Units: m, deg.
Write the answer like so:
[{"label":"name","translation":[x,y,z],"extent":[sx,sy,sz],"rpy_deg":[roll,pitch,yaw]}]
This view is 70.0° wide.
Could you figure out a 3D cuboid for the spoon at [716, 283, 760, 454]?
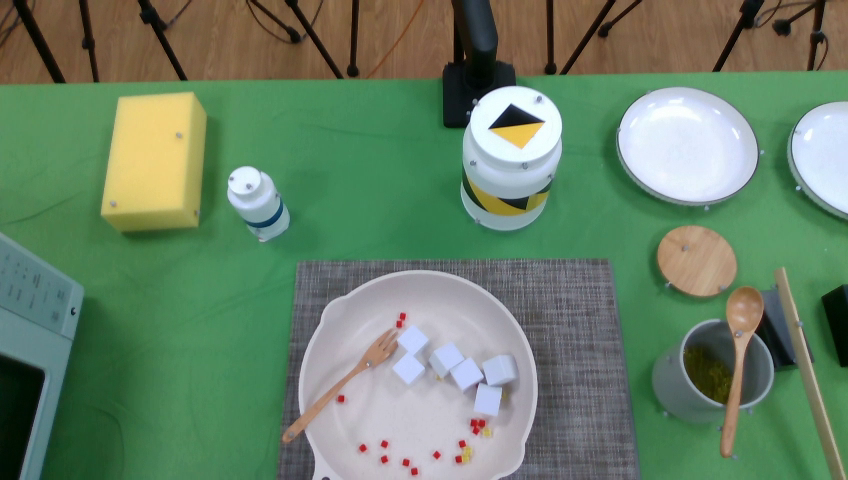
[{"label":"spoon","translation":[0.344,0.140,0.675],"extent":[0.041,0.022,0.193],"rpy_deg":[16,71,4]}]

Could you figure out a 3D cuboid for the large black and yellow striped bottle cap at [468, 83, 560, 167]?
[{"label":"large black and yellow striped bottle cap","translation":[0.113,-0.145,0.758],"extent":[0.115,0.019,0.114],"rpy_deg":[0,68,1]}]

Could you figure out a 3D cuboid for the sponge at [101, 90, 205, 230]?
[{"label":"sponge","translation":[-0.406,-0.123,0.918],"extent":[0.118,0.061,0.205],"rpy_deg":[-5,67,-1]}]

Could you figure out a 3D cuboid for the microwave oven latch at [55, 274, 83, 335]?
[{"label":"microwave oven latch","translation":[-0.489,0.087,0.822],"extent":[0.030,0.030,0.078],"rpy_deg":[2,67,2]}]

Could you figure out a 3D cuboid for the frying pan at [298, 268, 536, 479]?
[{"label":"frying pan","translation":[-0.076,0.247,0.724],"extent":[0.305,0.103,0.487],"rpy_deg":[38,64,17]}]

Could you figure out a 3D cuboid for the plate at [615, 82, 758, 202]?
[{"label":"plate","translation":[0.393,-0.146,0.924],"extent":[0.207,0.039,0.206],"rpy_deg":[-1,67,2]}]

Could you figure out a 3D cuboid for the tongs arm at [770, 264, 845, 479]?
[{"label":"tongs arm","translation":[0.492,0.214,0.727],"extent":[0.051,0.026,0.383],"rpy_deg":[-7,78,-6]}]

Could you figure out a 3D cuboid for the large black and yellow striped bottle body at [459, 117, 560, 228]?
[{"label":"large black and yellow striped bottle body","translation":[0.114,-0.110,0.835],"extent":[0.131,0.185,0.129],"rpy_deg":[0,66,1]}]

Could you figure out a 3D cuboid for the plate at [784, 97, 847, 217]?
[{"label":"plate","translation":[0.643,-0.119,0.905],"extent":[0.209,0.038,0.207],"rpy_deg":[-1,66,2]}]

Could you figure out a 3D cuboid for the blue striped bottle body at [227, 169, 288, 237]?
[{"label":"blue striped bottle body","translation":[-0.236,-0.057,0.853],"extent":[0.063,0.121,0.062],"rpy_deg":[-1,66,2]}]

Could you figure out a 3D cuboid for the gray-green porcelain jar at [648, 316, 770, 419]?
[{"label":"gray-green porcelain jar","translation":[0.341,0.161,0.743],"extent":[0.106,0.127,0.105],"rpy_deg":[0,66,1]}]

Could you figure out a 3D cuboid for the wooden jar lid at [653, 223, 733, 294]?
[{"label":"wooden jar lid","translation":[0.379,0.027,0.859],"extent":[0.108,0.021,0.107],"rpy_deg":[-1,68,2]}]

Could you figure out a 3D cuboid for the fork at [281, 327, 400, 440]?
[{"label":"fork","translation":[-0.102,0.177,0.764],"extent":[0.028,0.019,0.207],"rpy_deg":[42,49,10]}]

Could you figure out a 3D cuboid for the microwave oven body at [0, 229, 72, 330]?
[{"label":"microwave oven body","translation":[-0.641,0.210,0.666],"extent":[0.326,0.262,0.438],"rpy_deg":[0,67,1]}]

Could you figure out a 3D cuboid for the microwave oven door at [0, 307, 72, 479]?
[{"label":"microwave oven door","translation":[-0.496,0.246,0.642],"extent":[0.039,0.245,0.353],"rpy_deg":[0,66,2]}]

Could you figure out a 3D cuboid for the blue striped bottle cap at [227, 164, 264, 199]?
[{"label":"blue striped bottle cap","translation":[-0.238,-0.078,0.807],"extent":[0.044,0.021,0.044],"rpy_deg":[0,68,1]}]
